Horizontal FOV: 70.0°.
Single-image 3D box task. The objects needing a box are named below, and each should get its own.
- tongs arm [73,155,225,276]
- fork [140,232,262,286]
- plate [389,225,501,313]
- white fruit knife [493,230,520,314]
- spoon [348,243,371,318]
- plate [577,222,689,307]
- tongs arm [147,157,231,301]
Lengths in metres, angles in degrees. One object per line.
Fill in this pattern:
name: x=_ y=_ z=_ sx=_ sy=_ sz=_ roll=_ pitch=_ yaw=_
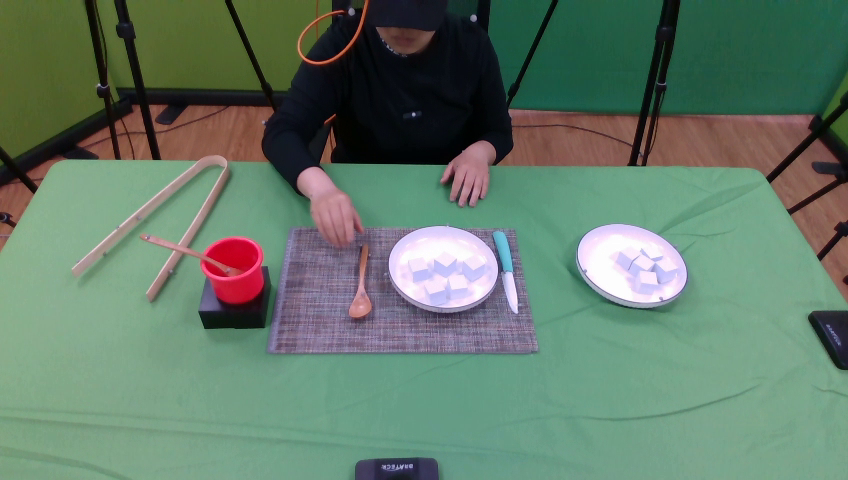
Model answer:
tongs arm: x=-0.531 y=-0.058 z=1.205 sx=0.050 sy=0.026 sz=0.383 roll=19 pitch=47 yaw=13
fork: x=-0.357 y=0.032 z=0.985 sx=0.208 sy=0.018 sz=0.028 roll=31 pitch=42 yaw=-35
plate: x=0.038 y=0.057 z=1.129 sx=0.208 sy=0.039 sz=0.206 roll=2 pitch=46 yaw=-2
white fruit knife: x=0.160 y=0.057 z=1.154 sx=0.027 sy=0.016 sz=0.206 roll=-21 pitch=46 yaw=16
spoon: x=-0.113 y=0.070 z=1.115 sx=0.041 sy=0.022 sz=0.192 roll=-11 pitch=45 yaw=10
plate: x=0.396 y=0.050 z=1.165 sx=0.209 sy=0.038 sz=0.208 roll=2 pitch=47 yaw=-2
tongs arm: x=-0.454 y=-0.035 z=1.193 sx=0.028 sy=0.028 sz=0.385 roll=6 pitch=46 yaw=6
